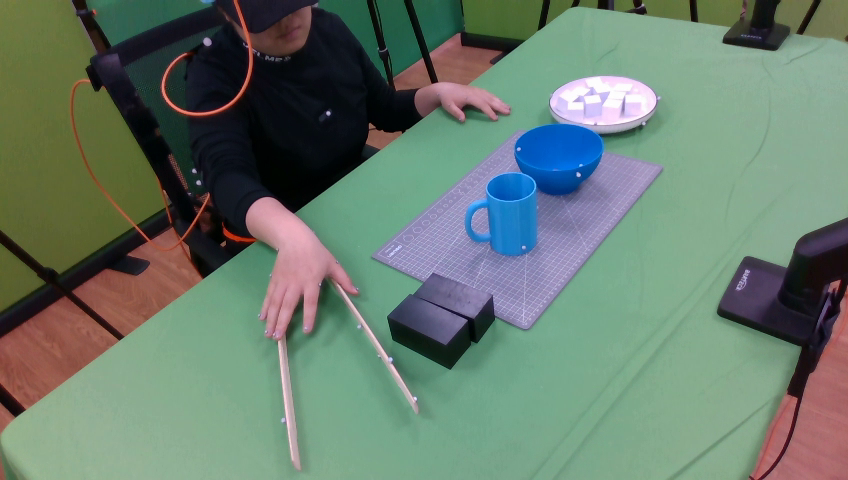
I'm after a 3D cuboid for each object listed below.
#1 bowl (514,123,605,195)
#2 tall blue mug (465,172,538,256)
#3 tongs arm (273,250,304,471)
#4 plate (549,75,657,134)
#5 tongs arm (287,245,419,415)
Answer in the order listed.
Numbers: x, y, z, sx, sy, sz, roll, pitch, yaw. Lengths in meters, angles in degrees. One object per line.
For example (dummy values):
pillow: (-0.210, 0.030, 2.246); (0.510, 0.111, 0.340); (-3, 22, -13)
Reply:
bowl: (0.232, -0.131, 1.045); (0.151, 0.077, 0.150); (-5, 40, 5)
tall blue mug: (0.125, -0.033, 0.925); (0.107, 0.108, 0.077); (-32, 46, -25)
tongs arm: (-0.188, 0.145, 0.844); (0.028, 0.028, 0.384); (-22, 41, 0)
plate: (0.357, -0.269, 1.220); (0.209, 0.038, 0.208); (-5, 41, 5)
tongs arm: (-0.114, 0.113, 0.859); (0.051, 0.027, 0.381); (-28, 43, -12)
